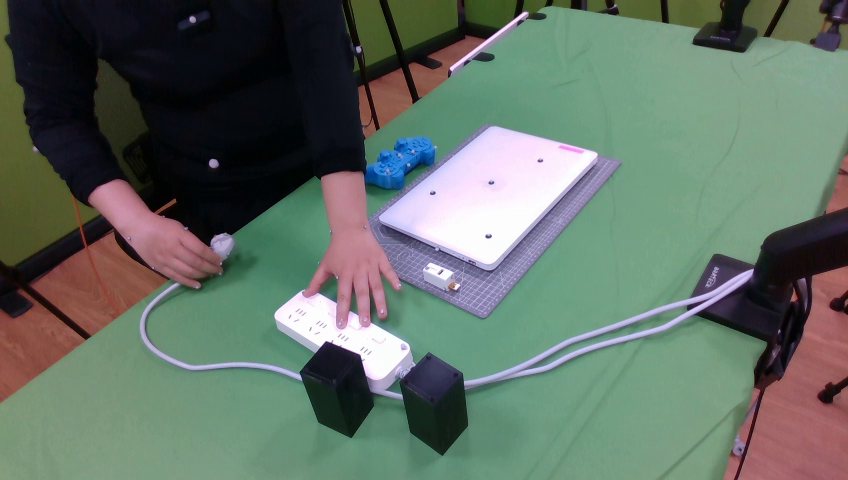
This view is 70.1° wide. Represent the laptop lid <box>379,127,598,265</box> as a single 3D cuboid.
[{"bbox_3d":[0.117,-0.095,1.048,0.239,0.013,0.358,23,49,34],"label":"laptop lid"}]

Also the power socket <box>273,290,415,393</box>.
[{"bbox_3d":[-0.115,0.133,0.820,0.225,0.033,0.072,24,47,32],"label":"power socket"}]

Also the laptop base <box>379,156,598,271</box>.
[{"bbox_3d":[0.120,-0.085,1.054,0.233,0.023,0.355,21,48,34],"label":"laptop base"}]

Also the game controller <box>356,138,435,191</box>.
[{"bbox_3d":[-0.049,-0.150,1.136,0.096,0.052,0.155,27,51,28],"label":"game controller"}]

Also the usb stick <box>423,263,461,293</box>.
[{"bbox_3d":[0.028,0.058,0.889,0.059,0.027,0.021,25,47,29],"label":"usb stick"}]

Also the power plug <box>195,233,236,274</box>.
[{"bbox_3d":[-0.334,0.015,0.954,0.073,0.035,0.052,-22,41,-14],"label":"power plug"}]
